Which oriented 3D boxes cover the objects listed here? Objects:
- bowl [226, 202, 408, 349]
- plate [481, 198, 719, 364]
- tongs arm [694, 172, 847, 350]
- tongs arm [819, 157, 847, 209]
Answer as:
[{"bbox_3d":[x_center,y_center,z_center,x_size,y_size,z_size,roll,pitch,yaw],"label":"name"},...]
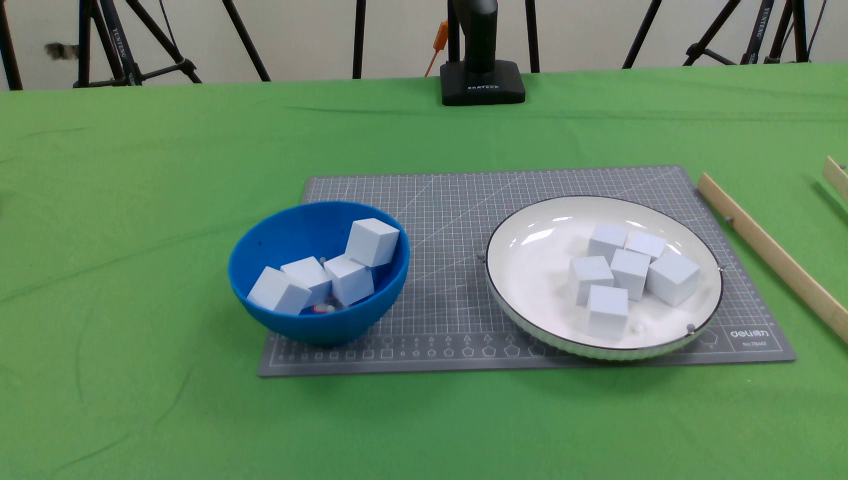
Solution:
[{"bbox_3d":[-0.087,0.041,0.528,0.151,0.077,0.150,-1,39,1],"label":"bowl"},{"bbox_3d":[0.156,0.036,0.556,0.208,0.039,0.205,-1,39,1],"label":"plate"},{"bbox_3d":[0.356,0.050,0.543,0.028,0.028,0.383,-8,40,-11],"label":"tongs arm"},{"bbox_3d":[0.435,0.041,0.545,0.051,0.027,0.381,-2,41,0],"label":"tongs arm"}]
